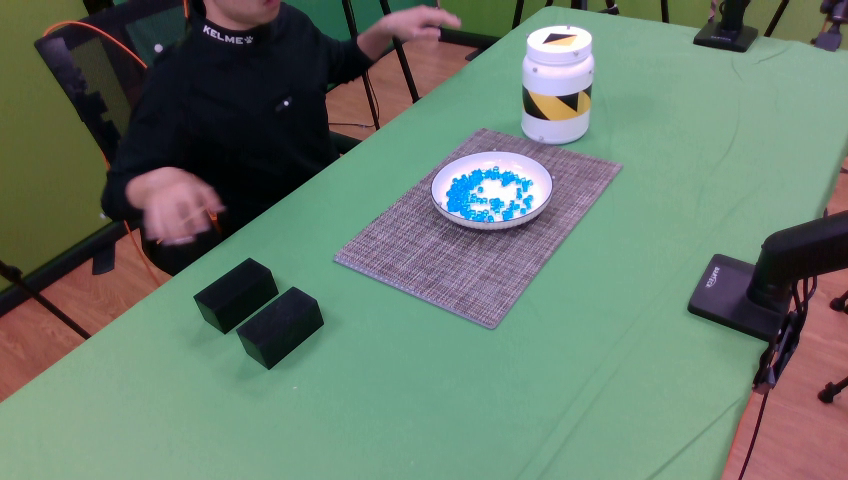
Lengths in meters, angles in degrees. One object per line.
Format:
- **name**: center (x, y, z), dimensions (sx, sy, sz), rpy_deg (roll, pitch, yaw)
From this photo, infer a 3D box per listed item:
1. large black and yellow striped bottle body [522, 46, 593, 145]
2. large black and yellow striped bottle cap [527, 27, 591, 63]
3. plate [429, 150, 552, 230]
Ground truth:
- **large black and yellow striped bottle body**: center (0.251, -0.289, 1.146), dimensions (0.131, 0.185, 0.130), rpy_deg (-4, 40, 4)
- **large black and yellow striped bottle cap**: center (0.244, -0.354, 1.092), dimensions (0.115, 0.019, 0.114), rpy_deg (-4, 42, 4)
- **plate**: center (0.113, -0.082, 1.032), dimensions (0.207, 0.039, 0.206), rpy_deg (-4, 41, 4)
